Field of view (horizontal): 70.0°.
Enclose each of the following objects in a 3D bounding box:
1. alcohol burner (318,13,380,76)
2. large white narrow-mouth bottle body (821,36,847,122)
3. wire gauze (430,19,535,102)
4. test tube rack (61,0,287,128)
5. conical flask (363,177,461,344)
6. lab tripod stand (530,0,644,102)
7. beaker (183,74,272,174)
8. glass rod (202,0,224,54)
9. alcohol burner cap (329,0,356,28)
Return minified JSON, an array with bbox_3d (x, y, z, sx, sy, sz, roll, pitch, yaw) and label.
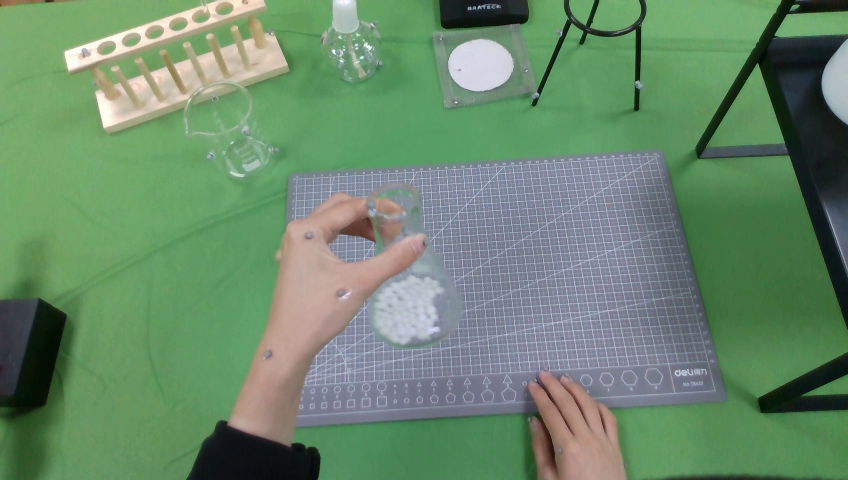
[{"bbox_3d":[-0.095,-0.263,0.752,0.078,0.120,0.077,0,62,1],"label":"alcohol burner"},{"bbox_3d":[0.394,-0.172,0.448,0.102,0.196,0.101,-1,63,2],"label":"large white narrow-mouth bottle body"},{"bbox_3d":[0.075,-0.240,0.793,0.121,0.011,0.124,-8,65,-3],"label":"wire gauze"},{"bbox_3d":[-0.306,-0.231,0.760,0.242,0.086,0.066,-22,66,-8],"label":"test tube rack"},{"bbox_3d":[-0.015,0.013,0.440,0.075,0.123,0.074,-5,43,5],"label":"conical flask"},{"bbox_3d":[0.202,-0.236,0.717,0.148,0.132,0.147,0,64,0],"label":"lab tripod stand"},{"bbox_3d":[-0.225,-0.127,0.701,0.073,0.101,0.084,41,73,20],"label":"beaker"},{"bbox_3d":[-0.262,-0.294,0.715,0.008,0.201,0.008,1,63,-2],"label":"glass rod"},{"bbox_3d":[-0.097,-0.281,0.720,0.034,0.048,0.033,3,63,-6],"label":"alcohol burner cap"}]
